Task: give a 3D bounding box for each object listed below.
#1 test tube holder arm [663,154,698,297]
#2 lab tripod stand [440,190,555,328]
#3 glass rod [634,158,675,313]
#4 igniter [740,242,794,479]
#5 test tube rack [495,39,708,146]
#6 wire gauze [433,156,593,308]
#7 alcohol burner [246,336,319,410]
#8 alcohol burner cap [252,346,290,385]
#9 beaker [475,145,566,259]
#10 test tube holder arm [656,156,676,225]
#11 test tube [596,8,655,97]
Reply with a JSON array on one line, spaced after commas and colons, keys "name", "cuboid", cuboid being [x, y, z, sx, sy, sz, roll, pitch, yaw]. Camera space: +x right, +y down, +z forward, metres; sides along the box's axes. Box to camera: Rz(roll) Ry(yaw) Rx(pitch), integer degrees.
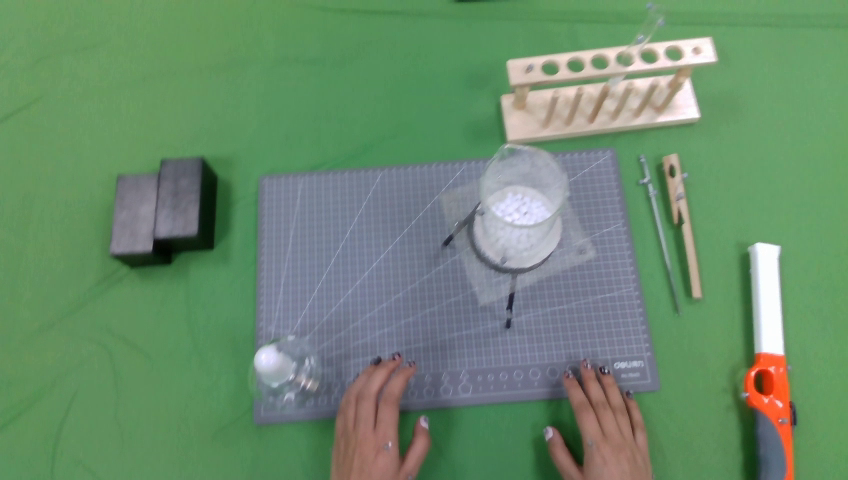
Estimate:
[{"name": "test tube holder arm", "cuboid": [0.306, -0.019, 0.724, 0.013, 0.015, 0.177, -16, 69, 31]}, {"name": "lab tripod stand", "cuboid": [0.082, 0.012, 0.657, 0.148, 0.132, 0.147, -1, 72, 3]}, {"name": "glass rod", "cuboid": [0.275, -0.009, 0.728, 0.008, 0.008, 0.198, -6, 71, -1]}, {"name": "igniter", "cuboid": [0.375, 0.134, 0.667, 0.057, 0.025, 0.275, 9, 71, -6]}, {"name": "test tube rack", "cuboid": [0.215, -0.180, 0.747, 0.242, 0.086, 0.066, -7, 71, -1]}, {"name": "wire gauze", "cuboid": [0.085, -0.012, 0.595, 0.121, 0.011, 0.124, -21, 73, -2]}, {"name": "alcohol burner", "cuboid": [-0.151, 0.135, 0.632, 0.078, 0.120, 0.077, -1, 69, 2]}, {"name": "alcohol burner cap", "cuboid": [-0.154, 0.121, 0.598, 0.034, 0.048, 0.033, 0, 61, 1]}, {"name": "beaker", "cuboid": [0.081, -0.030, 0.551, 0.074, 0.101, 0.083, -20, 71, -3]}, {"name": "test tube holder arm", "cuboid": [0.298, -0.061, 0.741, 0.010, 0.015, 0.087, -16, 69, 31]}, {"name": "test tube", "cuboid": [0.231, -0.213, 0.706, 0.017, 0.151, 0.017, 2, 70, -4]}]
